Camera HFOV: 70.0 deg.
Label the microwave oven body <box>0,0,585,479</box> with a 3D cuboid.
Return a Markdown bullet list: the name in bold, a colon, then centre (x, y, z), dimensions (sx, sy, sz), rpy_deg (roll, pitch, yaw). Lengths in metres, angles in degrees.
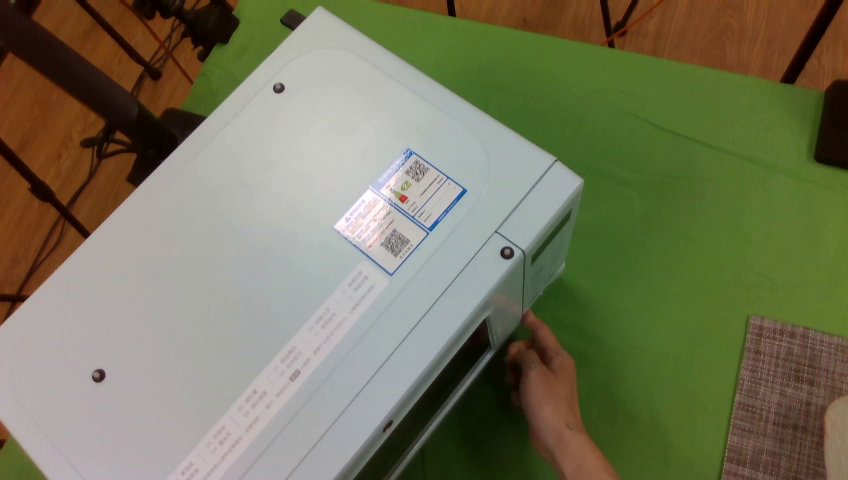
- **microwave oven body**: centre (-0.115, 0.055, 0.596), dimensions (0.324, 0.262, 0.441), rpy_deg (37, 80, 18)

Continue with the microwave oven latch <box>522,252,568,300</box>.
- **microwave oven latch**: centre (0.123, 0.037, 0.672), dimensions (0.079, 0.030, 0.030), rpy_deg (-40, 71, -6)

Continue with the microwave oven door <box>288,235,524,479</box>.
- **microwave oven door**: centre (-0.033, 0.169, 0.539), dimensions (0.039, 0.245, 0.355), rpy_deg (37, 80, 19)

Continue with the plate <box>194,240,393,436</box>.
- **plate**: centre (-0.135, 0.102, 0.644), dimensions (0.207, 0.039, 0.206), rpy_deg (-1, 68, 3)

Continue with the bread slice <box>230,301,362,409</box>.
- **bread slice**: centre (-0.136, 0.128, 0.642), dimensions (0.134, 0.018, 0.106), rpy_deg (-10, 68, -7)
